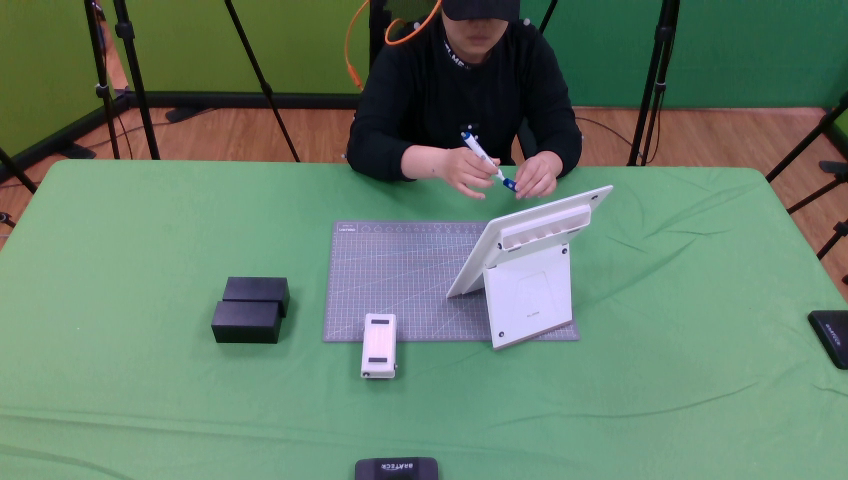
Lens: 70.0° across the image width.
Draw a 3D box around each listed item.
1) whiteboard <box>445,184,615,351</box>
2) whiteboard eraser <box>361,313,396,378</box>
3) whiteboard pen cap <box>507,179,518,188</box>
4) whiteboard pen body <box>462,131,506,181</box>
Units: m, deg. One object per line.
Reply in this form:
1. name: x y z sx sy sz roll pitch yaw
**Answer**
1. whiteboard: 0.187 0.065 0.989 0.217 0.306 0.143 -15 68 -18
2. whiteboard eraser: -0.075 0.176 1.006 0.055 0.042 0.112 2 50 -4
3. whiteboard pen cap: 0.171 -0.109 1.164 0.018 0.018 0.033 20 15 15
4. whiteboard pen body: 0.113 -0.150 1.105 0.017 0.141 0.017 -25 43 26
